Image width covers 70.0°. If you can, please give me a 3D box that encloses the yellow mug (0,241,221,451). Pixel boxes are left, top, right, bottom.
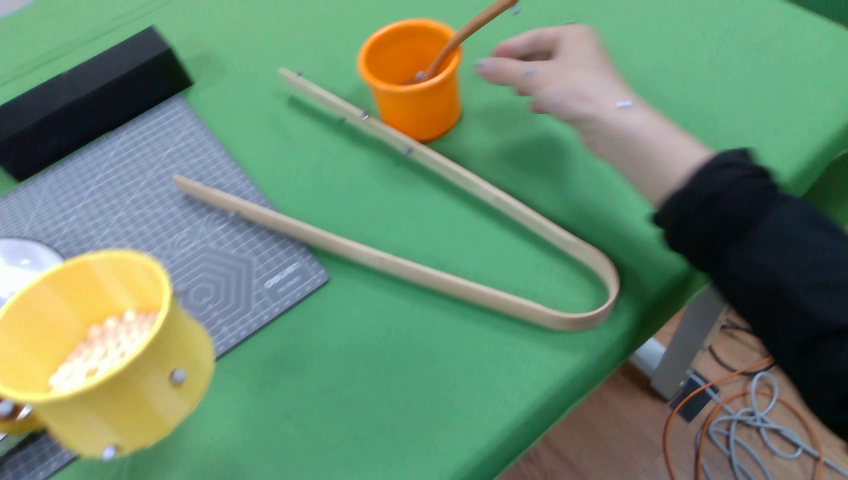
[{"bbox_3d":[-0.189,0.065,0.338,0.131,0.064,0.099,-28,49,-16],"label":"yellow mug"}]

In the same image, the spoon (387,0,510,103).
[{"bbox_3d":[0.029,-0.171,0.513,0.022,0.193,0.041,29,54,-24],"label":"spoon"}]

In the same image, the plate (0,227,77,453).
[{"bbox_3d":[-0.354,0.086,0.478,0.207,0.039,0.205,-4,58,7],"label":"plate"}]

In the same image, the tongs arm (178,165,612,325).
[{"bbox_3d":[-0.045,-0.002,0.490,0.385,0.028,0.028,19,59,18],"label":"tongs arm"}]

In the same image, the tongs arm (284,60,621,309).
[{"bbox_3d":[0.001,-0.063,0.519,0.382,0.027,0.050,32,67,23],"label":"tongs arm"}]
